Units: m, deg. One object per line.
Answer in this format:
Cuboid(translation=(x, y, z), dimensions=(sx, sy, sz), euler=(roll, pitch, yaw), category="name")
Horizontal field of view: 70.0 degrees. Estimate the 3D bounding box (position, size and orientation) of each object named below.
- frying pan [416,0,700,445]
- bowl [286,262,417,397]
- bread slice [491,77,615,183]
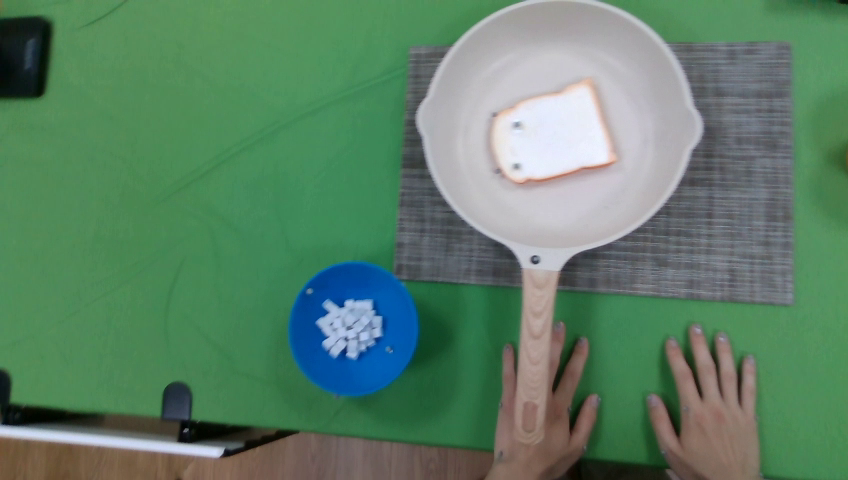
Cuboid(translation=(0.131, -0.027, 0.669), dimensions=(0.306, 0.103, 0.485), euler=(5, 75, 12), category="frying pan")
Cuboid(translation=(-0.075, 0.104, 0.707), dimensions=(0.151, 0.077, 0.151), euler=(-1, 82, 10), category="bowl")
Cuboid(translation=(0.148, -0.121, 0.718), dimensions=(0.134, 0.018, 0.106), euler=(-18, 80, 6), category="bread slice")
